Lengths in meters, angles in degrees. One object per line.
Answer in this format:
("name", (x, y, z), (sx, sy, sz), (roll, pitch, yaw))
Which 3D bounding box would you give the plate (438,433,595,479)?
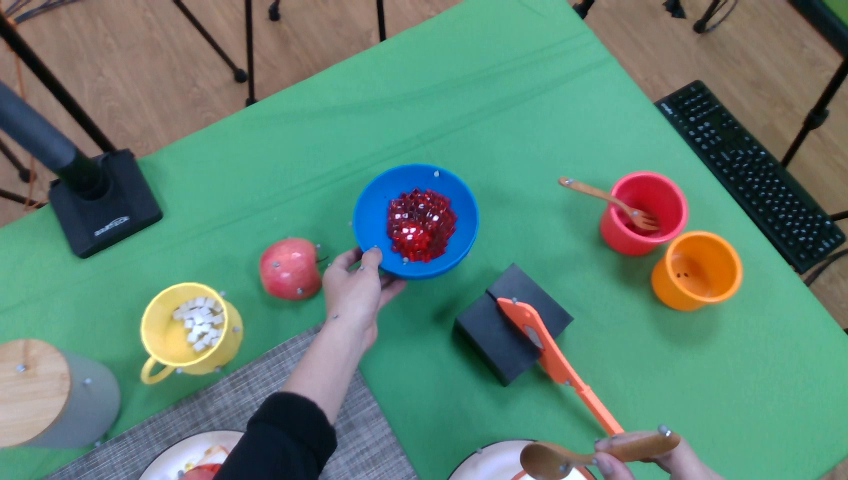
("plate", (0.104, 0.323, 0.675), (0.209, 0.038, 0.207), (1, 70, -2))

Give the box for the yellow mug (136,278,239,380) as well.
("yellow mug", (-0.290, 0.114, 0.724), (0.099, 0.064, 0.130), (35, 74, 10))

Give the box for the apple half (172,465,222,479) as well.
("apple half", (-0.236, 0.271, 0.612), (0.081, 0.033, 0.081), (-2, 71, 6))

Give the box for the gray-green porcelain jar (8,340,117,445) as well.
("gray-green porcelain jar", (-0.412, 0.171, 0.668), (0.106, 0.127, 0.105), (0, 70, -1))

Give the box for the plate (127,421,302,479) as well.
("plate", (-0.230, 0.308, 0.667), (0.208, 0.039, 0.206), (1, 71, -1))

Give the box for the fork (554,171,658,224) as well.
("fork", (0.230, -0.052, 0.751), (0.209, 0.018, 0.028), (18, 63, -39))

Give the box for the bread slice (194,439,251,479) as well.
("bread slice", (-0.227, 0.304, 0.670), (0.133, 0.018, 0.107), (40, 75, 12))

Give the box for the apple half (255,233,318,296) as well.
("apple half", (-0.176, 0.027, 0.765), (0.075, 0.053, 0.080), (-8, 71, -2))

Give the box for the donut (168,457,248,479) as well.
("donut", (-0.234, 0.283, 0.647), (0.099, 0.048, 0.098), (0, 71, -1))

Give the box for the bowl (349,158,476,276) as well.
("bowl", (-0.013, -0.016, 0.746), (0.151, 0.077, 0.150), (0, 67, 1))

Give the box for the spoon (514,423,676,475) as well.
("spoon", (0.124, 0.163, 0.467), (0.041, 0.194, 0.021), (48, 61, 3))

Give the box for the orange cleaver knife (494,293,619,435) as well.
("orange cleaver knife", (0.154, 0.145, 0.716), (0.012, 0.077, 0.212), (-40, 98, -21))

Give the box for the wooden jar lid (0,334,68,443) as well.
("wooden jar lid", (-0.412, 0.149, 0.608), (0.108, 0.021, 0.107), (1, 67, -2))
